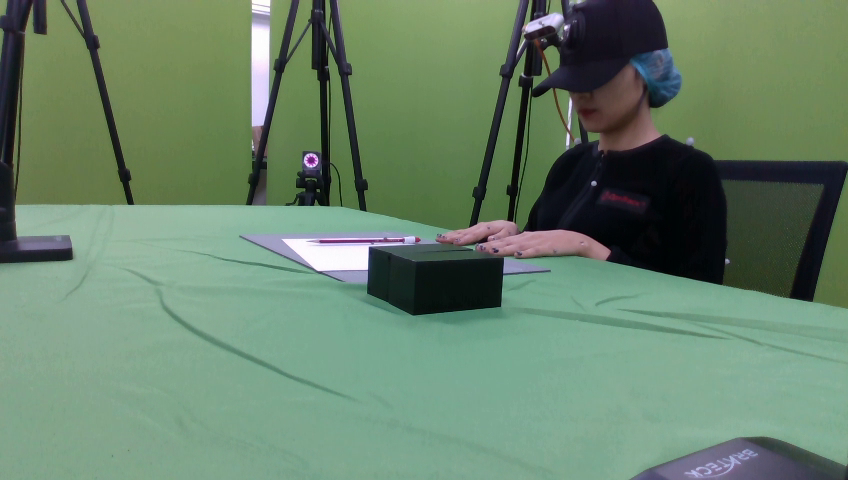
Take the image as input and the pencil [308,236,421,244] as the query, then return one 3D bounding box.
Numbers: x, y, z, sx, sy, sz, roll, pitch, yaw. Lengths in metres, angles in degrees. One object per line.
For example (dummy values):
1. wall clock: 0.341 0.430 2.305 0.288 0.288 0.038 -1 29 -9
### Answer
1. pencil: -0.093 0.000 0.982 0.195 0.012 0.012 -1 8 -27
